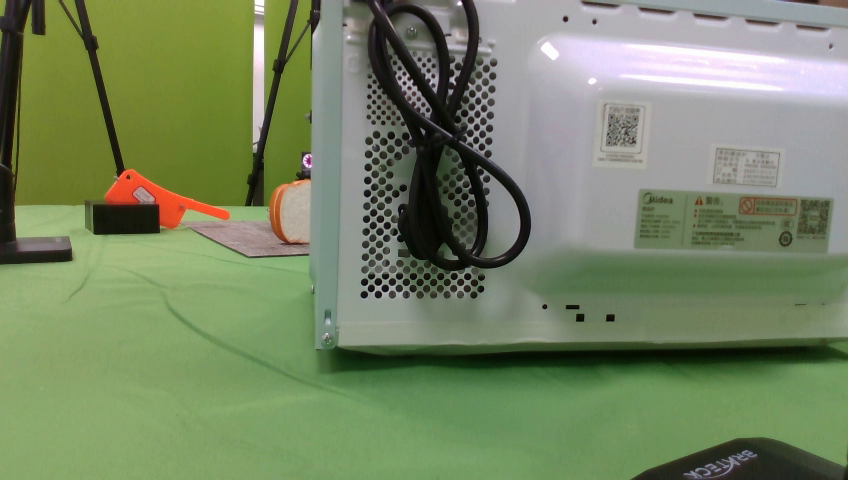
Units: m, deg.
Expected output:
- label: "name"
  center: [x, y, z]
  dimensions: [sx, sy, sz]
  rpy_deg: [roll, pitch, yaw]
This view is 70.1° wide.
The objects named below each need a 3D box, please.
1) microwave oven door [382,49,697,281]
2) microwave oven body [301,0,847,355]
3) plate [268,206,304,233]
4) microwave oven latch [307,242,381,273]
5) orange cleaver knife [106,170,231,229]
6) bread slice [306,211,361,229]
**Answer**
- label: "microwave oven door"
  center: [0.135, -0.077, 0.685]
  dimensions: [0.357, 0.243, 0.039]
  rpy_deg: [1, 8, -12]
- label: "microwave oven body"
  center: [0.120, -0.053, 0.535]
  dimensions: [0.443, 0.260, 0.325]
  rpy_deg: [2, 7, -11]
- label: "plate"
  center: [-0.197, -0.039, 1.175]
  dimensions: [0.208, 0.039, 0.207]
  rpy_deg: [2, 7, 0]
- label: "microwave oven latch"
  center: [-0.086, 0.019, 0.656]
  dimensions: [0.079, 0.029, 0.030]
  rpy_deg: [2, 7, -10]
- label: "orange cleaver knife"
  center: [-0.458, -0.060, 1.097]
  dimensions: [0.212, 0.077, 0.012]
  rpy_deg: [23, -5, -38]
- label: "bread slice"
  center: [-0.173, -0.040, 1.173]
  dimensions: [0.107, 0.018, 0.134]
  rpy_deg: [-2, 10, -8]
